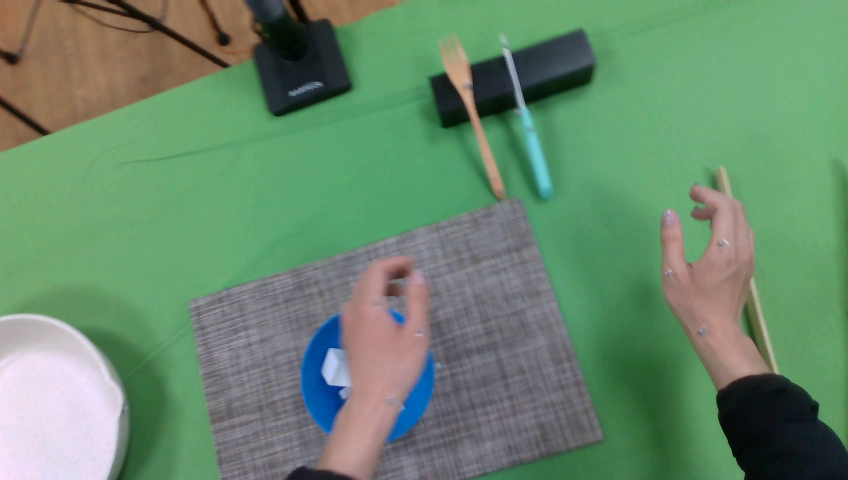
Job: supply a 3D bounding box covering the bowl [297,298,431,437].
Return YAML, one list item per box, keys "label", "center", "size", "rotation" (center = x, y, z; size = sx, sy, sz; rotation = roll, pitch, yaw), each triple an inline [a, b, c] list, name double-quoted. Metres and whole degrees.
- label: "bowl"
  center: [-0.061, 0.146, 0.696]
  size: [0.151, 0.077, 0.150]
  rotation: [-2, 77, 7]

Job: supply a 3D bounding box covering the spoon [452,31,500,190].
- label: "spoon"
  center: [0.067, -0.156, 0.744]
  size: [0.041, 0.022, 0.194]
  rotation: [-6, 98, 32]

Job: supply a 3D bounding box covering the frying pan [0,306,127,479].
- label: "frying pan"
  center: [-0.470, 0.321, 0.704]
  size: [0.307, 0.103, 0.483]
  rotation: [-18, 67, 4]

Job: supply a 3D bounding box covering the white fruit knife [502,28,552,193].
- label: "white fruit knife"
  center: [0.123, -0.159, 0.742]
  size: [0.016, 0.027, 0.207]
  rotation: [-16, 90, 0]

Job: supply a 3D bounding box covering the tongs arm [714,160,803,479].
- label: "tongs arm"
  center: [0.379, 0.093, 0.676]
  size: [0.028, 0.028, 0.385]
  rotation: [-9, 77, 3]
